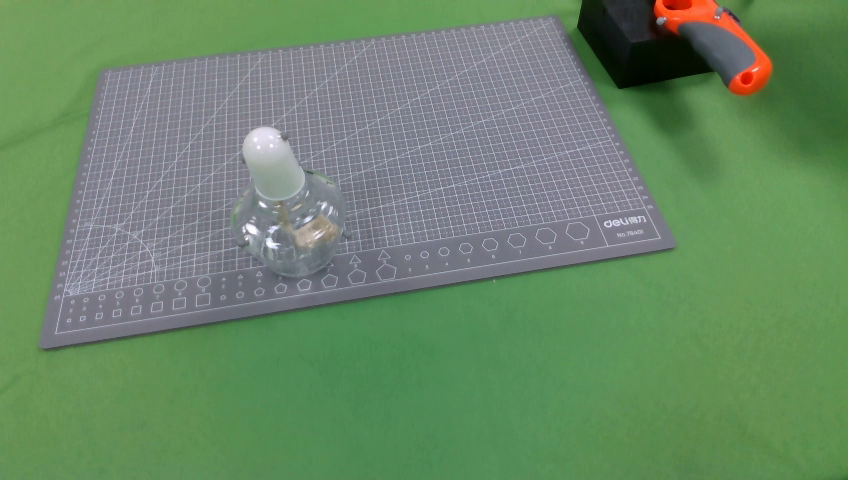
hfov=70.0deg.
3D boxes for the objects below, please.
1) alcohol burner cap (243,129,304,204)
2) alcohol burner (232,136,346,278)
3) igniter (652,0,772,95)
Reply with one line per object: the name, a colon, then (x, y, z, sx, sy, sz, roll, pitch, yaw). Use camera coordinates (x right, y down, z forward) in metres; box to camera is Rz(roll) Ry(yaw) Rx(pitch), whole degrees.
alcohol burner cap: (-0.095, -0.048, 0.376, 0.034, 0.048, 0.033, -1, 57, 1)
alcohol burner: (-0.093, -0.027, 0.404, 0.078, 0.120, 0.077, -1, 55, 1)
igniter: (0.221, -0.217, 0.537, 0.057, 0.025, 0.273, -13, 52, -5)
